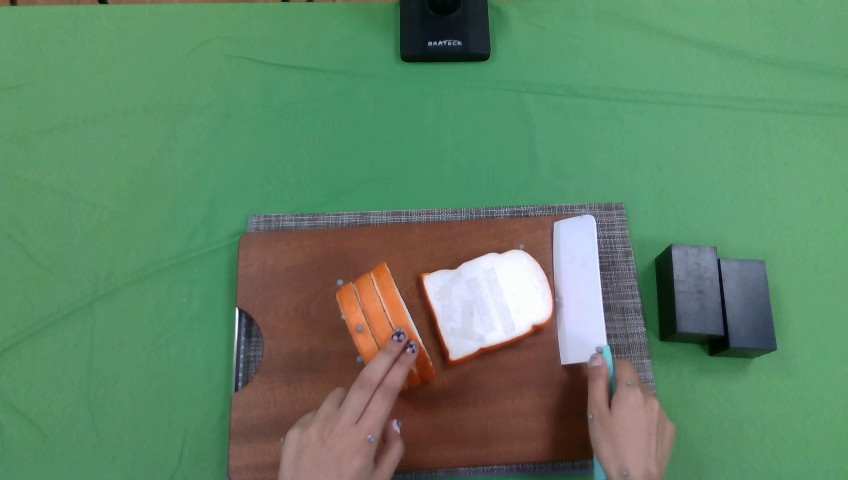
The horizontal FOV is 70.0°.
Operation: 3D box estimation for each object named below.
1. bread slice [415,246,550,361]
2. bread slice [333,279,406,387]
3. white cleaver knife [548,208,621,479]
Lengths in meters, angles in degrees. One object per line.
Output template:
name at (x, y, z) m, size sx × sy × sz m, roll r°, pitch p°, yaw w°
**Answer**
bread slice at (0.068, 0.063, 0.657) m, size 0.134 × 0.018 × 0.106 m, roll -14°, pitch 74°, yaw -4°
bread slice at (-0.055, 0.091, 0.593) m, size 0.019 × 0.132 × 0.104 m, roll -27°, pitch 71°, yaw -2°
white cleaver knife at (0.166, 0.101, 0.638) m, size 0.022 × 0.065 × 0.284 m, roll 17°, pitch 64°, yaw -37°
